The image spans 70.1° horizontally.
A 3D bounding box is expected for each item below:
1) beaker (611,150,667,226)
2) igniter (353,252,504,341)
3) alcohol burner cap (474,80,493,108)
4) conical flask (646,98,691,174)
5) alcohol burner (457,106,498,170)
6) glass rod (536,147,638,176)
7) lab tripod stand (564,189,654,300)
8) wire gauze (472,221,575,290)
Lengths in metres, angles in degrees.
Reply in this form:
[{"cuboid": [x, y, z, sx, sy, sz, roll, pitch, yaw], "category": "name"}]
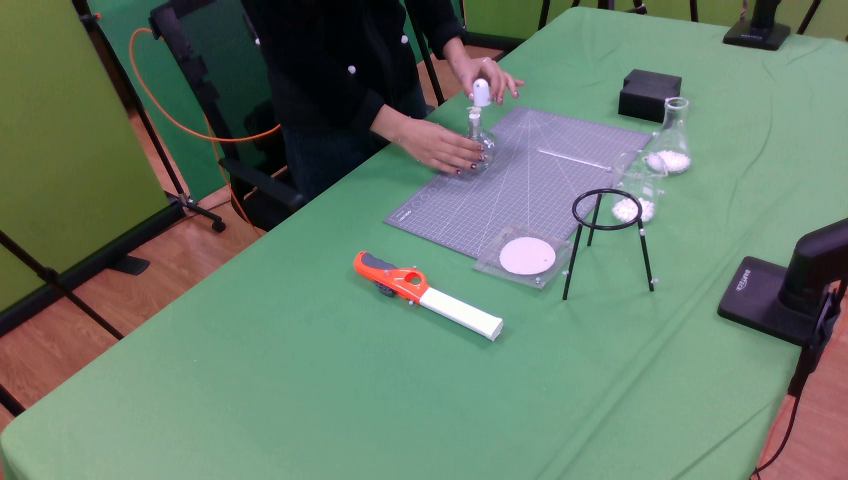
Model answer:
[{"cuboid": [0.337, -0.079, 0.953, 0.083, 0.101, 0.074, 25, 51, 33], "category": "beaker"}, {"cuboid": [-0.005, 0.077, 0.889, 0.274, 0.025, 0.057, 23, 60, 33], "category": "igniter"}, {"cuboid": [0.108, -0.270, 1.110, 0.034, 0.048, 0.033, -8, 36, 6], "category": "alcohol burner cap"}, {"cuboid": [0.426, -0.180, 1.037, 0.075, 0.122, 0.075, -5, 40, 5], "category": "conical flask"}, {"cuboid": [0.097, -0.192, 1.117, 0.078, 0.119, 0.077, -7, 39, 6], "category": "alcohol burner"}, {"cuboid": [0.294, -0.145, 1.104, 0.198, 0.008, 0.008, 22, 50, 31], "category": "glass rod"}, {"cuboid": [0.251, 0.003, 0.845, 0.148, 0.132, 0.147, -7, 39, 6], "category": "lab tripod stand"}, {"cuboid": [0.158, 0.024, 0.933, 0.120, 0.011, 0.125, 21, 49, 31], "category": "wire gauze"}]
